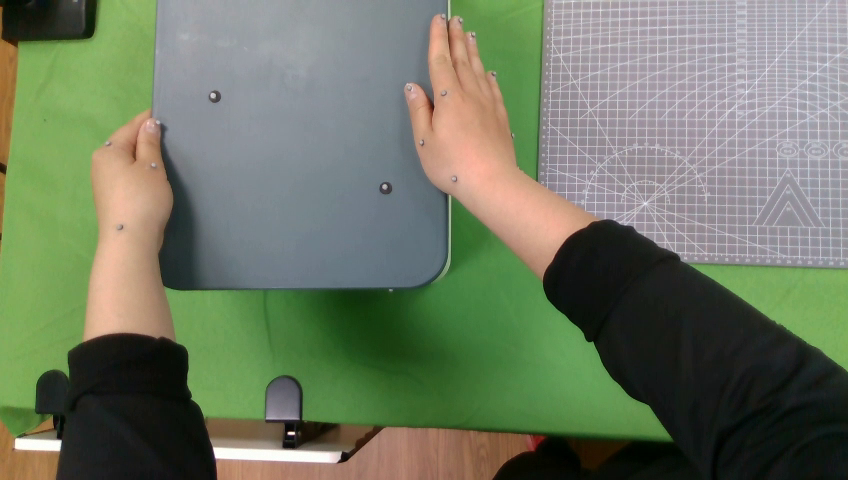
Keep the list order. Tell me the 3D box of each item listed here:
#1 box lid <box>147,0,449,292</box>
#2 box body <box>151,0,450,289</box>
[{"bbox_3d":[-0.111,-0.142,0.526,0.263,0.015,0.370,-1,85,6],"label":"box lid"},{"bbox_3d":[-0.102,-0.131,0.599,0.254,0.161,0.363,-1,84,6],"label":"box body"}]
